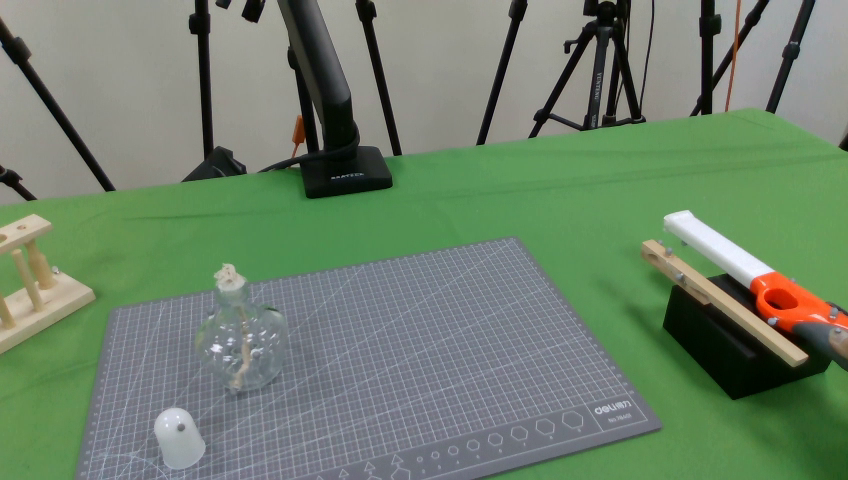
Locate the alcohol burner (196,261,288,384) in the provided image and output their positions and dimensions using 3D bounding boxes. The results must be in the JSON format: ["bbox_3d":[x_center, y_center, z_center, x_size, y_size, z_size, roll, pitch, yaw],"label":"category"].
[{"bbox_3d":[-0.157,0.065,0.516,0.078,0.120,0.077,1,35,0],"label":"alcohol burner"}]

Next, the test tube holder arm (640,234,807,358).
[{"bbox_3d":[0.255,0.043,0.534,0.015,0.013,0.176,-19,36,-15],"label":"test tube holder arm"}]

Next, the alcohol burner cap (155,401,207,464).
[{"bbox_3d":[-0.188,0.144,0.464,0.034,0.048,0.033,0,34,0],"label":"alcohol burner cap"}]

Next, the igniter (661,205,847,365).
[{"bbox_3d":[0.309,0.038,0.542,0.057,0.025,0.273,-15,34,-11],"label":"igniter"}]

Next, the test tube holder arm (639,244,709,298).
[{"bbox_3d":[0.238,0.026,0.572,0.015,0.010,0.087,-19,35,-15],"label":"test tube holder arm"}]

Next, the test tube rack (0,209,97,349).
[{"bbox_3d":[-0.440,0.069,0.548,0.066,0.086,0.242,20,39,28],"label":"test tube rack"}]
